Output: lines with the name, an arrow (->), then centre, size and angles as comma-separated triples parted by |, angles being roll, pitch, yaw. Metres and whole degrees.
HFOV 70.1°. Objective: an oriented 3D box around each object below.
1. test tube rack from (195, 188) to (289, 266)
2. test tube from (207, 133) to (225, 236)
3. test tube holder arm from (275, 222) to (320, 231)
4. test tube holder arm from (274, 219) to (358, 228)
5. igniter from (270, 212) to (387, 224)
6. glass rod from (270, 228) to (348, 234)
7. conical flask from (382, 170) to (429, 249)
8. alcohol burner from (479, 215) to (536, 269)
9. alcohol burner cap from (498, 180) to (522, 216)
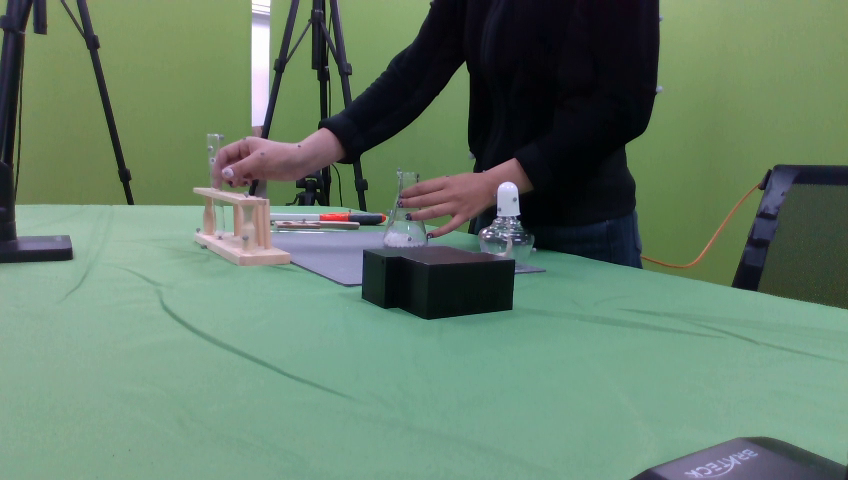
test tube rack -> -0.266, -0.025, 0.863 | 0.067, 0.085, 0.241 | -2, 9, -33
test tube -> -0.302, -0.079, 0.880 | 0.017, 0.150, 0.017 | 0, 12, 0
test tube holder arm -> -0.238, -0.025, 1.144 | 0.088, 0.015, 0.010 | -3, 45, -39
test tube holder arm -> -0.206, -0.031, 1.176 | 0.179, 0.015, 0.013 | -4, 46, -39
igniter -> -0.213, -0.048, 1.278 | 0.278, 0.025, 0.057 | -1, -2, -25
glass rod -> -0.235, -0.017, 1.105 | 0.201, 0.008, 0.008 | 1, 7, -26
conical flask -> -0.027, -0.049, 0.959 | 0.075, 0.122, 0.075 | 3, 7, 0
alcohol burner -> 0.113, -0.021, 0.815 | 0.078, 0.119, 0.078 | 2, 9, 0
alcohol burner cap -> 0.114, -0.056, 0.809 | 0.034, 0.048, 0.034 | -5, 12, 1
